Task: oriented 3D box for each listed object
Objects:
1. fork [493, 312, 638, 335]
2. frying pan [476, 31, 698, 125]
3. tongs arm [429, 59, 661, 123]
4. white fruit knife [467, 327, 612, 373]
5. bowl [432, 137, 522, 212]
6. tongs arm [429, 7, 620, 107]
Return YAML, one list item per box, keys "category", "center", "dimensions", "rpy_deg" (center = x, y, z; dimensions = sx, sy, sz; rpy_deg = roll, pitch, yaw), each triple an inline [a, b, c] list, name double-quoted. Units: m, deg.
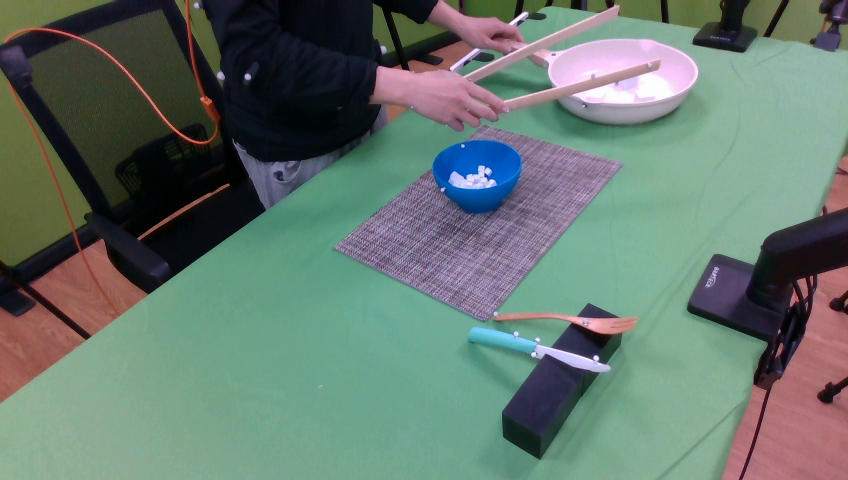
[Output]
- category: "fork"
  center: [0.173, 0.103, 0.774]
  dimensions: [0.206, 0.019, 0.028]
  rpy_deg: [0, 41, 40]
- category: "frying pan"
  center: [0.321, -0.371, 1.290]
  dimensions: [0.484, 0.103, 0.307]
  rpy_deg: [29, 51, 24]
- category: "tongs arm"
  center: [0.200, -0.255, 1.008]
  dimensions: [0.385, 0.026, 0.050]
  rpy_deg: [-16, 62, -1]
- category: "white fruit knife"
  center: [0.134, 0.134, 0.742]
  dimensions: [0.205, 0.027, 0.016]
  rpy_deg: [7, 34, 41]
- category: "bowl"
  center: [0.091, -0.100, 1.021]
  dimensions: [0.151, 0.077, 0.150]
  rpy_deg: [-4, 41, 4]
- category: "tongs arm"
  center: [0.175, -0.317, 1.046]
  dimensions: [0.388, 0.028, 0.028]
  rpy_deg: [-27, 66, -8]
